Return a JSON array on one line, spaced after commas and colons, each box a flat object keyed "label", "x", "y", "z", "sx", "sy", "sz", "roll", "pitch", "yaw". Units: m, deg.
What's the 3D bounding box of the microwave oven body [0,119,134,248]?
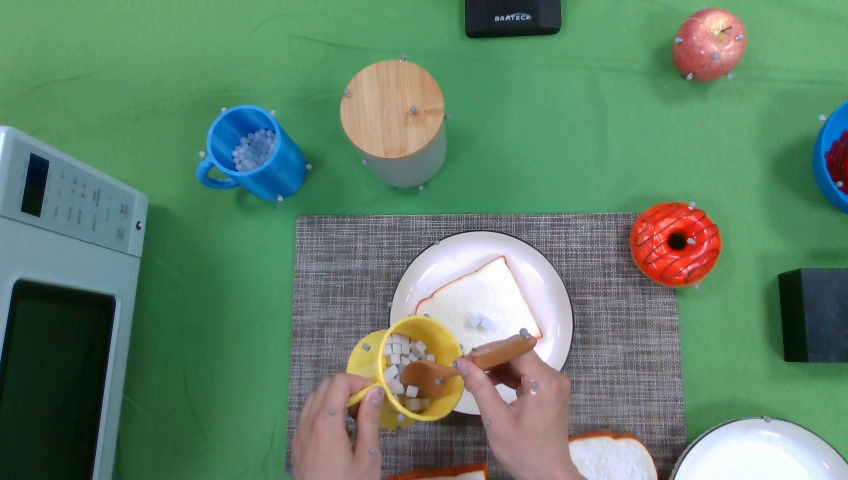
[{"label": "microwave oven body", "x": -0.519, "y": 0.121, "z": 0.610, "sx": 0.326, "sy": 0.261, "sz": 0.440, "roll": 3, "pitch": 81, "yaw": 4}]

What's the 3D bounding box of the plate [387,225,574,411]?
[{"label": "plate", "x": 0.063, "y": 0.087, "z": 0.692, "sx": 0.207, "sy": 0.039, "sz": 0.207, "roll": -1, "pitch": 81, "yaw": 4}]

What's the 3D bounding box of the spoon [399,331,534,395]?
[{"label": "spoon", "x": 0.032, "y": 0.109, "z": 0.531, "sx": 0.021, "sy": 0.193, "sz": 0.041, "roll": -39, "pitch": 94, "yaw": -35}]

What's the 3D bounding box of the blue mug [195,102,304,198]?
[{"label": "blue mug", "x": -0.208, "y": -0.095, "z": 0.708, "sx": 0.116, "sy": 0.106, "sz": 0.082, "roll": -26, "pitch": 79, "yaw": -1}]

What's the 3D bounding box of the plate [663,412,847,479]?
[{"label": "plate", "x": 0.353, "y": 0.288, "z": 0.643, "sx": 0.209, "sy": 0.038, "sz": 0.208, "roll": -1, "pitch": 80, "yaw": 4}]

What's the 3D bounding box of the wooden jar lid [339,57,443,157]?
[{"label": "wooden jar lid", "x": -0.034, "y": -0.136, "z": 0.631, "sx": 0.108, "sy": 0.021, "sz": 0.108, "roll": -1, "pitch": 78, "yaw": 4}]

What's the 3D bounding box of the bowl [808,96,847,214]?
[{"label": "bowl", "x": 0.496, "y": -0.086, "z": 0.675, "sx": 0.151, "sy": 0.077, "sz": 0.151, "roll": -1, "pitch": 81, "yaw": 4}]

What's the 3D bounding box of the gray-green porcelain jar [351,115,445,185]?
[{"label": "gray-green porcelain jar", "x": -0.030, "y": -0.125, "z": 0.692, "sx": 0.106, "sy": 0.127, "sz": 0.105, "roll": -1, "pitch": 80, "yaw": 4}]

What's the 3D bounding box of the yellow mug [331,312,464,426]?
[{"label": "yellow mug", "x": -0.031, "y": 0.130, "z": 0.582, "sx": 0.131, "sy": 0.064, "sz": 0.099, "roll": -18, "pitch": 81, "yaw": -39}]

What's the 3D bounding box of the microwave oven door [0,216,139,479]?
[{"label": "microwave oven door", "x": -0.377, "y": 0.169, "z": 0.588, "sx": 0.039, "sy": 0.245, "sz": 0.354, "roll": 3, "pitch": 80, "yaw": 4}]

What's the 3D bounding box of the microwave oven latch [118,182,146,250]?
[{"label": "microwave oven latch", "x": -0.354, "y": -0.029, "z": 0.722, "sx": 0.030, "sy": 0.029, "sz": 0.079, "roll": 5, "pitch": 81, "yaw": 4}]

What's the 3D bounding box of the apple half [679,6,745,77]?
[{"label": "apple half", "x": 0.342, "y": -0.237, "z": 0.713, "sx": 0.053, "sy": 0.075, "sz": 0.080, "roll": -32, "pitch": 76, "yaw": -7}]

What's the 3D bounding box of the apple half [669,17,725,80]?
[{"label": "apple half", "x": 0.310, "y": -0.215, "z": 0.710, "sx": 0.033, "sy": 0.081, "sz": 0.081, "roll": -33, "pitch": 79, "yaw": -7}]

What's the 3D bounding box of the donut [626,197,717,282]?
[{"label": "donut", "x": 0.280, "y": 0.000, "z": 0.689, "sx": 0.099, "sy": 0.048, "sz": 0.098, "roll": -1, "pitch": 81, "yaw": 4}]

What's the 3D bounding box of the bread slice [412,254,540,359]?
[{"label": "bread slice", "x": 0.054, "y": 0.089, "z": 0.694, "sx": 0.131, "sy": 0.019, "sz": 0.104, "roll": -26, "pitch": 80, "yaw": -2}]

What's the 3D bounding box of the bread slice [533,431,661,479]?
[{"label": "bread slice", "x": 0.186, "y": 0.258, "z": 0.632, "sx": 0.135, "sy": 0.018, "sz": 0.106, "roll": -5, "pitch": 76, "yaw": -17}]
